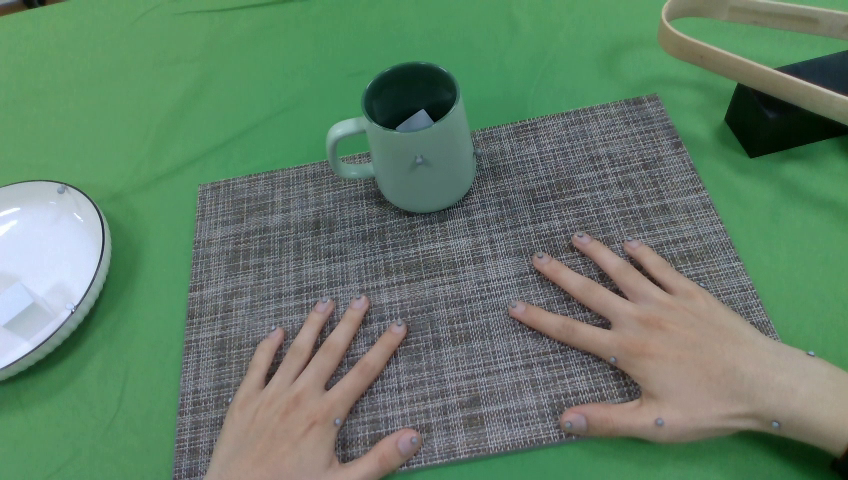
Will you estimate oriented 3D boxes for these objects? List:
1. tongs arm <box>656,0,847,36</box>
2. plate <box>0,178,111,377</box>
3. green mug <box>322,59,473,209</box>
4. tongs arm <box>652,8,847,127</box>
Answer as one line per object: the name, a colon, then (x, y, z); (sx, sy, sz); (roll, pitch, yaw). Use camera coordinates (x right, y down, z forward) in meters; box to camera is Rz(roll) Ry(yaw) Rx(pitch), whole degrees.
tongs arm: (0.386, -0.155, 0.488); (0.382, 0.027, 0.050); (21, 67, 20)
plate: (-0.377, 0.036, 0.539); (0.209, 0.038, 0.207); (-4, 57, 6)
green mug: (-0.023, -0.083, 0.515); (0.125, 0.106, 0.091); (-12, 57, 1)
tongs arm: (0.345, -0.096, 0.459); (0.384, 0.028, 0.028); (33, 75, 25)
